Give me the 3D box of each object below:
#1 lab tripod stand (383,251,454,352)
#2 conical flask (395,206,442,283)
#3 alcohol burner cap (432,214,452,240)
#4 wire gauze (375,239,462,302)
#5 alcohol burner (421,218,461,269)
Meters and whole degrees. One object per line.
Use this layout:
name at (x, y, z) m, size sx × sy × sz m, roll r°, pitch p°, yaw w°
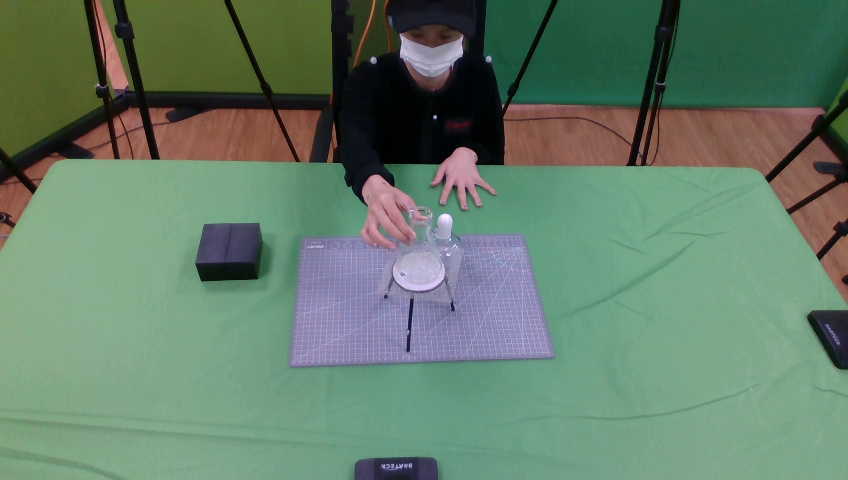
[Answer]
lab tripod stand at (-0.015, 0.094, 1.025) m, size 0.148 × 0.132 × 0.147 m, roll 1°, pitch 46°, yaw -1°
conical flask at (-0.007, 0.004, 0.938) m, size 0.075 × 0.122 × 0.075 m, roll 2°, pitch 45°, yaw -2°
alcohol burner cap at (0.035, -0.027, 1.110) m, size 0.034 × 0.048 × 0.033 m, roll 7°, pitch 43°, yaw -6°
wire gauze at (-0.006, 0.049, 0.977) m, size 0.121 × 0.011 × 0.124 m, roll 10°, pitch 44°, yaw 5°
alcohol burner at (0.033, -0.001, 1.135) m, size 0.078 × 0.119 × 0.077 m, roll 3°, pitch 48°, yaw -3°
